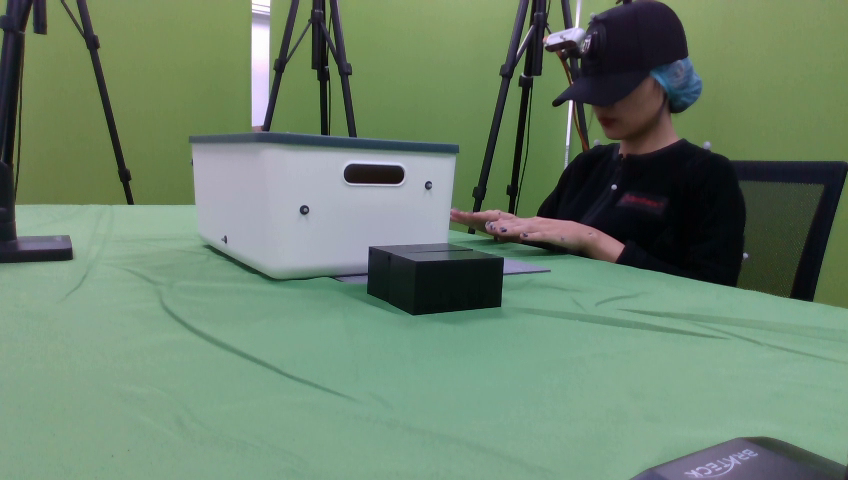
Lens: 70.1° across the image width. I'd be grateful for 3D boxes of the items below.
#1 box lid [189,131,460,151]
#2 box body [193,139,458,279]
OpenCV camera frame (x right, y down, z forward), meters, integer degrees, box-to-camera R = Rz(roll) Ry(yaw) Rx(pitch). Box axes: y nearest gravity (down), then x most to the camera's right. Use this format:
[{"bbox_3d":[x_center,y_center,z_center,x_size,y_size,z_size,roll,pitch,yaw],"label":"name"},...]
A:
[{"bbox_3d":[-0.150,-0.132,0.828,0.265,0.015,0.369,-3,9,-33],"label":"box lid"},{"bbox_3d":[-0.154,-0.059,0.840,0.255,0.160,0.362,-2,9,-33],"label":"box body"}]
